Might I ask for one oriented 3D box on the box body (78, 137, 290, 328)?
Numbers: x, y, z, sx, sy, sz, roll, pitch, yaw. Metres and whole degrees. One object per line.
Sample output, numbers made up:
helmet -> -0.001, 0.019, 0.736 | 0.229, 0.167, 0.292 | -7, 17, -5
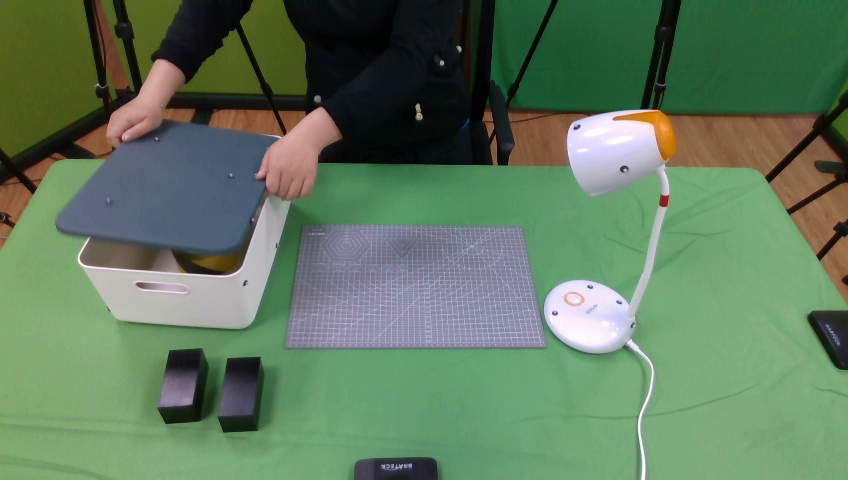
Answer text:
box body -> -0.400, -0.027, 1.095 | 0.254, 0.161, 0.362 | 4, 46, 0

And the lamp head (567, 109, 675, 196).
lamp head -> 0.272, -0.123, 0.818 | 0.122, 0.113, 0.112 | -9, 35, 37

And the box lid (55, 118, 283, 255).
box lid -> -0.398, -0.102, 1.005 | 0.263, 0.015, 0.369 | 7, 36, -4

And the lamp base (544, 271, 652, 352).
lamp base -> 0.310, 0.086, 1.029 | 0.178, 0.181, 0.160 | 32, 52, 21

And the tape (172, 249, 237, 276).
tape -> -0.408, 0.014, 1.124 | 0.117, 0.053, 0.116 | 2, 46, -2
